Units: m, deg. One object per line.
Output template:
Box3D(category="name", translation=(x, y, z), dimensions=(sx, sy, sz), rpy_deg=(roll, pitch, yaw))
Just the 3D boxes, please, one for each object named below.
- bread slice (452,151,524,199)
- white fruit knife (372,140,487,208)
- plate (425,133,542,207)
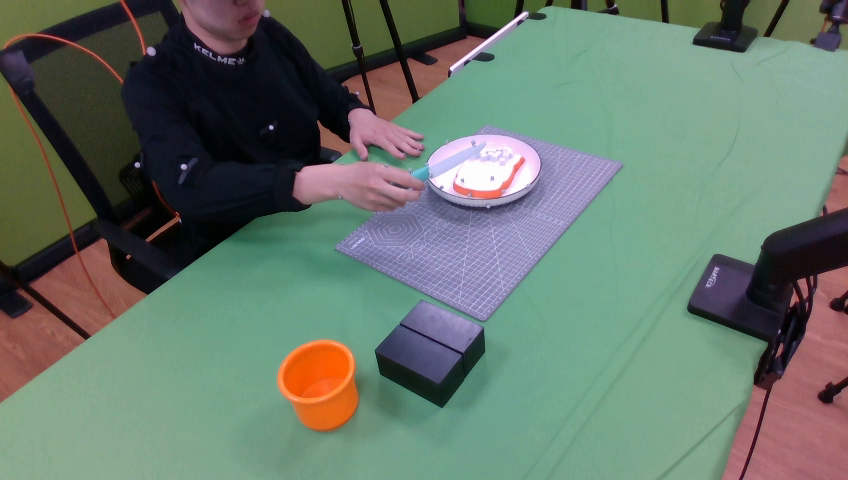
Box3D(category="bread slice", translation=(0.112, -0.118, 1.079), dimensions=(0.104, 0.019, 0.131), rpy_deg=(11, 42, 21))
Box3D(category="white fruit knife", translation=(0.004, -0.101, 0.914), dimensions=(0.207, 0.027, 0.016), rpy_deg=(-26, 33, 19))
Box3D(category="plate", translation=(0.105, -0.121, 1.079), dimensions=(0.209, 0.038, 0.208), rpy_deg=(-4, 41, 4))
